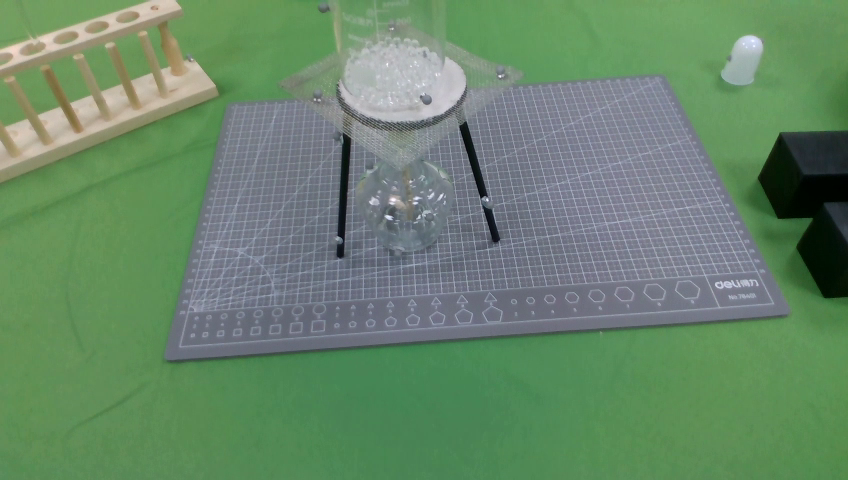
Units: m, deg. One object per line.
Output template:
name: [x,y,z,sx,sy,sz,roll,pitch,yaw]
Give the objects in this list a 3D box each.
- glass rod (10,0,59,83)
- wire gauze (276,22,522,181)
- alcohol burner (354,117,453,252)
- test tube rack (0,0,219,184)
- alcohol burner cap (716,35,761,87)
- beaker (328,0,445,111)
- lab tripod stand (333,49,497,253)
glass rod: [-0.346,-0.185,0.528,0.008,0.201,0.008,2,49,-2]
wire gauze: [-0.017,-0.104,0.409,0.124,0.011,0.121,37,61,26]
alcohol burner: [-0.016,-0.046,0.459,0.078,0.120,0.077,0,51,1]
test tube rack: [-0.333,-0.142,0.578,0.242,0.086,0.066,-29,54,-20]
alcohol burner cap: [0.320,-0.184,0.612,0.034,0.048,0.033,-1,49,1]
beaker: [-0.025,-0.138,0.374,0.084,0.101,0.073,11,50,11]
lab tripod stand: [-0.010,-0.064,0.461,0.148,0.132,0.147,0,49,1]
